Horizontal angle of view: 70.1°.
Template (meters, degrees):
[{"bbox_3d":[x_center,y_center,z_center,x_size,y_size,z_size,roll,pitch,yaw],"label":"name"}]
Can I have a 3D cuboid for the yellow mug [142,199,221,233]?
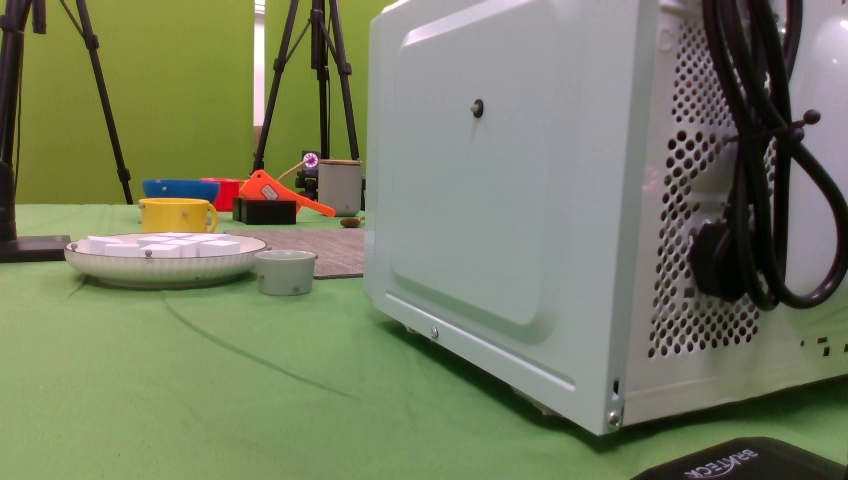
[{"bbox_3d":[-0.372,-0.030,0.948,0.099,0.064,0.131,6,8,30],"label":"yellow mug"}]

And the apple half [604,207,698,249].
[{"bbox_3d":[0.207,-0.013,0.543,0.081,0.033,0.081,4,10,0],"label":"apple half"}]

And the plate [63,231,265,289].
[{"bbox_3d":[-0.288,0.021,0.687,0.208,0.039,0.207,2,8,0],"label":"plate"}]

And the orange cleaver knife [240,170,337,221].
[{"bbox_3d":[-0.287,-0.081,1.299,0.212,0.077,0.012,25,-2,-31],"label":"orange cleaver knife"}]

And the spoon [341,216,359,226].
[{"bbox_3d":[-0.132,-0.047,1.305,0.041,0.021,0.194,-13,4,14],"label":"spoon"}]

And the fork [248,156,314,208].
[{"bbox_3d":[-0.360,-0.147,1.523,0.207,0.019,0.028,-43,19,-6],"label":"fork"}]

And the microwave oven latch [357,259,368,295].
[{"bbox_3d":[-0.019,0.031,0.529,0.079,0.029,0.030,-1,7,-26],"label":"microwave oven latch"}]

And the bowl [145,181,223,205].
[{"bbox_3d":[-0.499,-0.081,1.261,0.151,0.077,0.151,2,8,0],"label":"bowl"}]

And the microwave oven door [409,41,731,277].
[{"bbox_3d":[0.165,-0.082,0.666,0.357,0.243,0.039,0,8,-11],"label":"microwave oven door"}]

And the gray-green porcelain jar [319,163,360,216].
[{"bbox_3d":[-0.204,-0.126,1.490,0.106,0.126,0.106,2,8,0],"label":"gray-green porcelain jar"}]

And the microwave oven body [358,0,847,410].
[{"bbox_3d":[0.210,-0.051,0.471,0.444,0.260,0.324,-1,7,-28],"label":"microwave oven body"}]

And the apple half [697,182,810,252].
[{"bbox_3d":[0.281,-0.021,0.512,0.075,0.053,0.080,13,-8,-16],"label":"apple half"}]

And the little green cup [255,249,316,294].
[{"bbox_3d":[-0.144,0.032,0.626,0.061,0.038,0.061,4,7,0],"label":"little green cup"}]

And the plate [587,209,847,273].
[{"bbox_3d":[0.246,-0.002,0.515,0.209,0.038,0.209,1,7,0],"label":"plate"}]

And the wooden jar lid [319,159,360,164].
[{"bbox_3d":[-0.203,-0.189,1.482,0.108,0.020,0.108,2,10,0],"label":"wooden jar lid"}]
